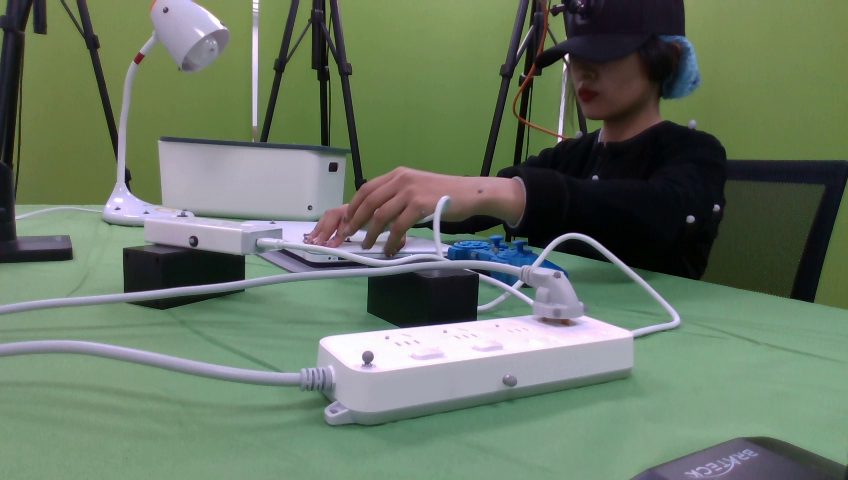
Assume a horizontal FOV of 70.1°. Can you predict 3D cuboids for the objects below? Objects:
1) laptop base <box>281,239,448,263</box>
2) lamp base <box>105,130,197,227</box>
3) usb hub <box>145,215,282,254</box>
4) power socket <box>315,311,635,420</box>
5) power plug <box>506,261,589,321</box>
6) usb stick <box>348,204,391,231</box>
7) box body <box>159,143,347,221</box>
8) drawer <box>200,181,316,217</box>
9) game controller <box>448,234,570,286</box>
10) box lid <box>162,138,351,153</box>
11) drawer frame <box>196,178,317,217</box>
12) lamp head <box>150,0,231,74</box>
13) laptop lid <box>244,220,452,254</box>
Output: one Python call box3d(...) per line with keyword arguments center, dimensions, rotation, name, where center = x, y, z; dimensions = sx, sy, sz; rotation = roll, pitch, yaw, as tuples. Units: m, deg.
box3d(center=(-0.125, 0.003, 0.946), dimensions=(0.237, 0.023, 0.352), rotation=(1, 7, -31), name="laptop base")
box3d(center=(-0.532, -0.120, 1.153), dimensions=(0.179, 0.180, 0.161), rotation=(1, 7, 8), name="lamp base")
box3d(center=(-0.200, -0.006, 0.573), dimensions=(0.125, 0.025, 0.050), rotation=(6, 7, 23), name="usb hub")
box3d(center=(0.039, 0.072, 0.385), dimensions=(0.228, 0.032, 0.072), rotation=(-2, 7, -29), name="power socket")
box3d(center=(0.091, 0.043, 0.444), dimensions=(0.035, 0.052, 0.072), rotation=(-1, 5, -18), name="power plug")
box3d(center=(-0.067, -0.027, 0.711), dimensions=(0.059, 0.027, 0.021), rotation=(5, 18, 42), name="usb stick")
box3d(center=(-0.384, -0.137, 1.406), dimensions=(0.364, 0.160, 0.254), rotation=(3, 8, 7), name="box body")
box3d(center=(-0.372, -0.097, 1.393), dimensions=(0.212, 0.073, 0.194), rotation=(1, 9, 6), name="drawer")
box3d(center=(0.099, 0.022, 0.756), dimensions=(0.097, 0.051, 0.154), rotation=(-6, 10, -29), name="game controller")
box3d(center=(-0.371, -0.215, 1.394), dimensions=(0.371, 0.015, 0.263), rotation=(4, 8, 7), name="box lid")
box3d(center=(-0.376, -0.101, 1.393), dimensions=(0.213, 0.082, 0.202), rotation=(1, 8, 6), name="drawer frame")
box3d(center=(-0.432, -0.374, 1.086), dimensions=(0.123, 0.112, 0.112), rotation=(42, 8, -2), name="lamp head")
box3d(center=(-0.123, -0.009, 0.945), dimensions=(0.243, 0.013, 0.355), rotation=(0, 7, -29), name="laptop lid")
